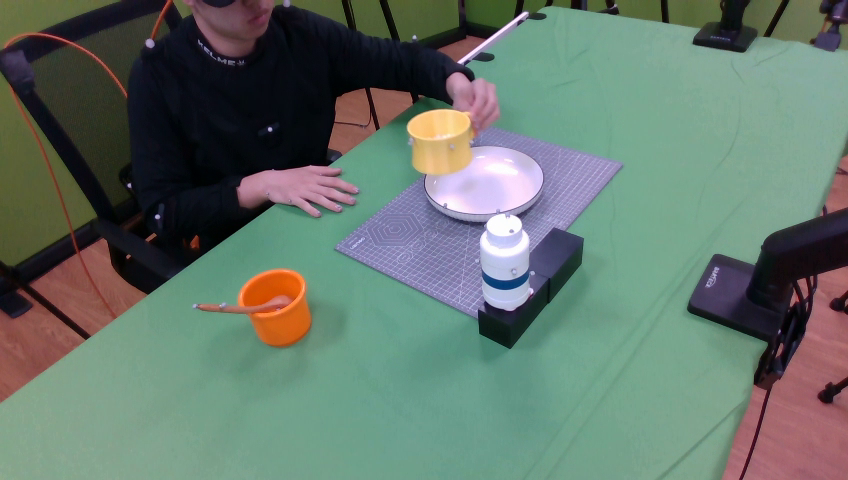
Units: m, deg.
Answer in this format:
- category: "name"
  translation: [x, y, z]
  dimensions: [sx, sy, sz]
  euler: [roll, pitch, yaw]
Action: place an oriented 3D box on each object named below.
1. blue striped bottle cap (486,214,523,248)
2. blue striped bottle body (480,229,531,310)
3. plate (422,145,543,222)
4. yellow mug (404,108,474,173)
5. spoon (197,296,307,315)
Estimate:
- category: "blue striped bottle cap"
  translation: [0.098, -0.011, 0.735]
  dimensions: [0.044, 0.021, 0.044]
  euler: [-3, 38, 3]
- category: "blue striped bottle body"
  translation: [0.104, 0.027, 0.769]
  dimensions: [0.063, 0.121, 0.063]
  euler: [-4, 41, 4]
- category: "plate"
  translation: [0.101, -0.094, 1.048]
  dimensions: [0.207, 0.039, 0.206]
  euler: [-4, 41, 4]
- category: "yellow mug"
  translation: [0.033, -0.167, 0.970]
  dimensions: [0.131, 0.064, 0.099]
  euler: [-33, 45, -30]
- category: "spoon"
  translation: [-0.219, 0.088, 0.792]
  dimensions: [0.041, 0.021, 0.195]
  euler: [19, 7, 26]
